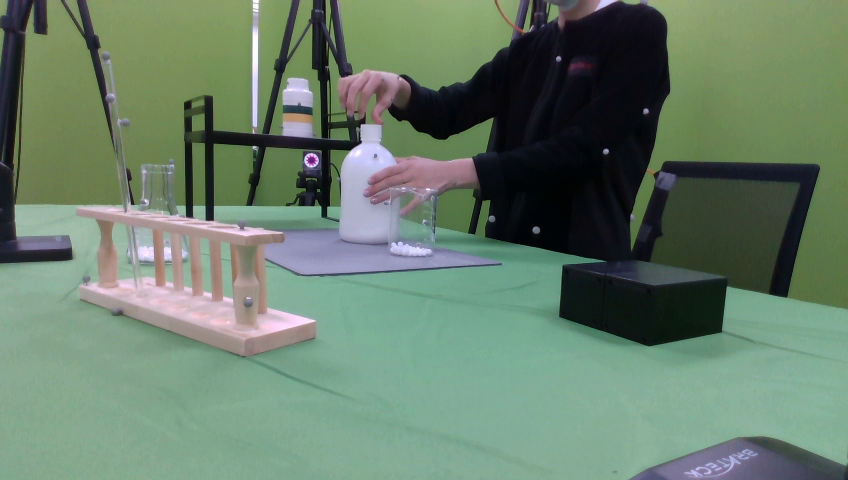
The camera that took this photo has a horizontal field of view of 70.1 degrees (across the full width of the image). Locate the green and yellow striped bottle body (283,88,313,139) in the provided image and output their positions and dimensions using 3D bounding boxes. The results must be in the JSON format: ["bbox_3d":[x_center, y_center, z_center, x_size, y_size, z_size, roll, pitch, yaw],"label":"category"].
[{"bbox_3d":[-0.266,-0.275,1.275,0.063,0.119,0.063,3,7,0],"label":"green and yellow striped bottle body"}]

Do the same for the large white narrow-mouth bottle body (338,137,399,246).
[{"bbox_3d":[-0.092,-0.093,1.014,0.102,0.194,0.101,4,9,0],"label":"large white narrow-mouth bottle body"}]

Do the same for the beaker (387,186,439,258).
[{"bbox_3d":[-0.015,-0.027,0.885,0.074,0.100,0.083,-1,9,-20],"label":"beaker"}]

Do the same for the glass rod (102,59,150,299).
[{"bbox_3d":[-0.243,-0.045,0.496,0.008,0.199,0.008,-4,13,1],"label":"glass rod"}]

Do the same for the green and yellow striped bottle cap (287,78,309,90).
[{"bbox_3d":[-0.265,-0.326,1.268,0.045,0.020,0.045,4,6,0],"label":"green and yellow striped bottle cap"}]

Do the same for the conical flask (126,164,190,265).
[{"bbox_3d":[-0.332,-0.033,0.756,0.075,0.122,0.075,2,7,0],"label":"conical flask"}]

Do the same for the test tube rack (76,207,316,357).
[{"bbox_3d":[-0.196,0.023,0.500,0.241,0.085,0.067,8,9,36],"label":"test tube rack"}]

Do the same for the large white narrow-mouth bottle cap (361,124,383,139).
[{"bbox_3d":[-0.086,-0.179,0.999,0.038,0.024,0.037,4,9,0],"label":"large white narrow-mouth bottle cap"}]
